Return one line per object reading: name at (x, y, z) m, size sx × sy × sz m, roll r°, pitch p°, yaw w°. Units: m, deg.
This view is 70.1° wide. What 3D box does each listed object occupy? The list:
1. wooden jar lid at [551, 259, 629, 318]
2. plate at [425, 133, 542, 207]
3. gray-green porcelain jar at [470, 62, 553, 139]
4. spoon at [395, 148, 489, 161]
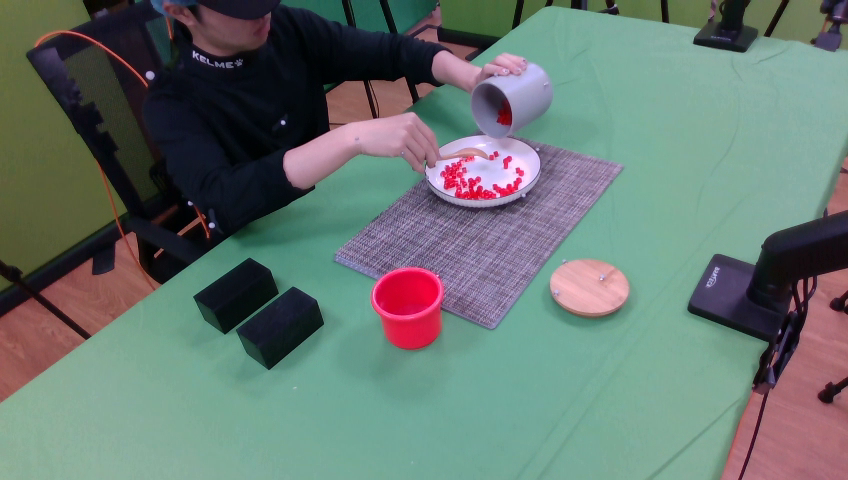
wooden jar lid at (0.234, 0.070, 0.857) m, size 0.108 × 0.021 × 0.108 m, roll -5°, pitch 40°, yaw 4°
plate at (0.105, -0.122, 1.079) m, size 0.207 × 0.039 × 0.206 m, roll -4°, pitch 41°, yaw 4°
gray-green porcelain jar at (0.162, -0.256, 1.094) m, size 0.127 × 0.106 × 0.105 m, roll -34°, pitch 47°, yaw -31°
spoon at (0.034, -0.140, 1.004) m, size 0.195 × 0.021 × 0.041 m, roll -9°, pitch 27°, yaw -37°
